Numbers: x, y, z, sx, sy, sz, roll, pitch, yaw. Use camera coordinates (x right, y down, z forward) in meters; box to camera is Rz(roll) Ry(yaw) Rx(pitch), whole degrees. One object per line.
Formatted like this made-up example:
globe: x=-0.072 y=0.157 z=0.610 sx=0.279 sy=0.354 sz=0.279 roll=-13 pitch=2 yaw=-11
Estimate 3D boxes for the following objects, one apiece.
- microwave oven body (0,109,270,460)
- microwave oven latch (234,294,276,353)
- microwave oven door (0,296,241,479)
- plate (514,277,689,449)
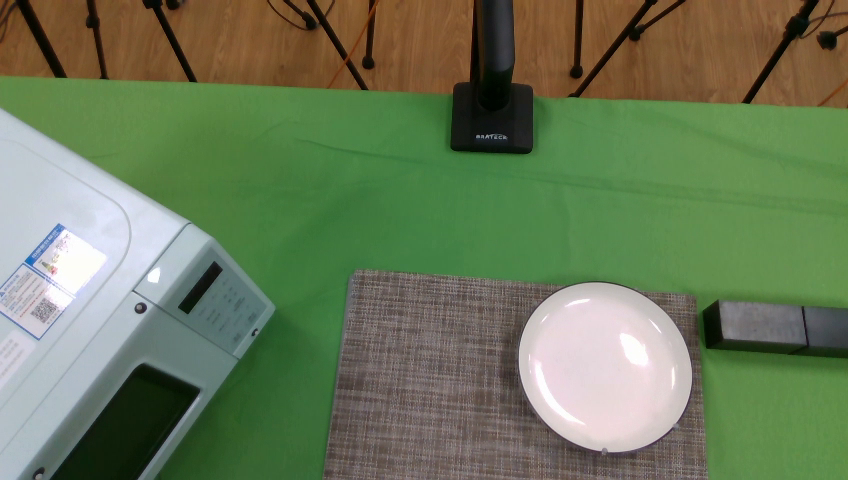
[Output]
microwave oven body: x=-0.440 y=0.137 z=0.644 sx=0.325 sy=0.262 sz=0.440 roll=29 pitch=72 yaw=12
microwave oven latch: x=-0.218 y=0.100 z=0.757 sx=0.030 sy=0.030 sz=0.079 roll=31 pitch=73 yaw=12
microwave oven door: x=-0.336 y=0.236 z=0.596 sx=0.039 sy=0.245 sz=0.354 roll=28 pitch=72 yaw=13
plate: x=0.213 y=0.149 z=0.741 sx=0.208 sy=0.039 sz=0.206 roll=0 pitch=68 yaw=1
